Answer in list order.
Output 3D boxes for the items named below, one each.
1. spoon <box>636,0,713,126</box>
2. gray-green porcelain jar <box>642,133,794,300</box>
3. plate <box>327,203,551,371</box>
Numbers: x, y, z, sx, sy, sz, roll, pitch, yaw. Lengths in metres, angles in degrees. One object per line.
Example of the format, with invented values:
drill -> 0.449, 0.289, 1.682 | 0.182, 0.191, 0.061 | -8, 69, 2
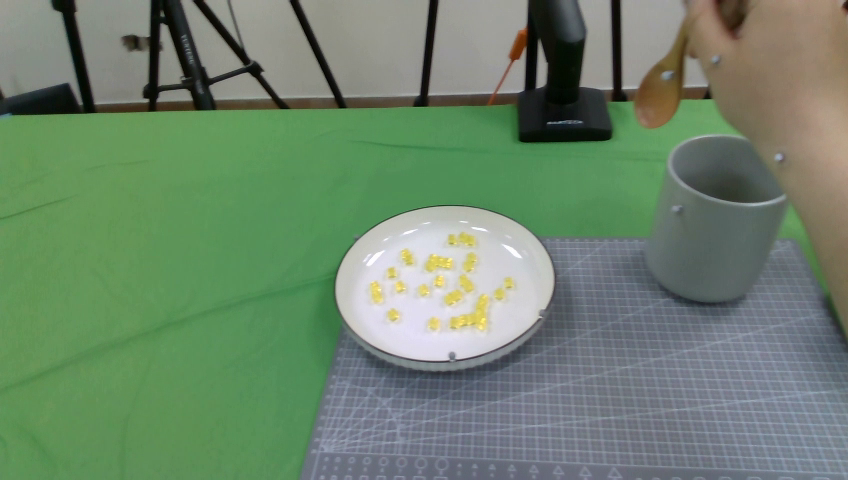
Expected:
spoon -> 0.170, -0.135, 0.380 | 0.021, 0.195, 0.041 | -15, 68, -2
gray-green porcelain jar -> 0.260, -0.016, 0.553 | 0.106, 0.128, 0.105 | -3, 42, 3
plate -> 0.014, 0.043, 0.578 | 0.207, 0.039, 0.205 | -2, 42, 3
